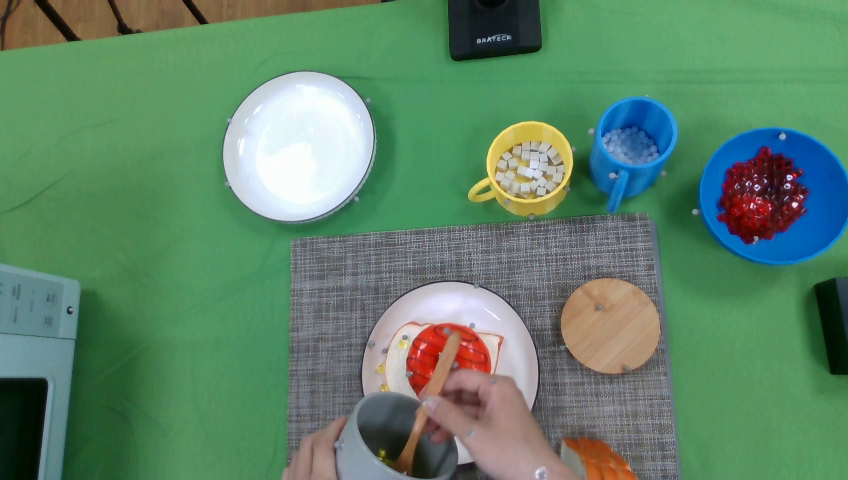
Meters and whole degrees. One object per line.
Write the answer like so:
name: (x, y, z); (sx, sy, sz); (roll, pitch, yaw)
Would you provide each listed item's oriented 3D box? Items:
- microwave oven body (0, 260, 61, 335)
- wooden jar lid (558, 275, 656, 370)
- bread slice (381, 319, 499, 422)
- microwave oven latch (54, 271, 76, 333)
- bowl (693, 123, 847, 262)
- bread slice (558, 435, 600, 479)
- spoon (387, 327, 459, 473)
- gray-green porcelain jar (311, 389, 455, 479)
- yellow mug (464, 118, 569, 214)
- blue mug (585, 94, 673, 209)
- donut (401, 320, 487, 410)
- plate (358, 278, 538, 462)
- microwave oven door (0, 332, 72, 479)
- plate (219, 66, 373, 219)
microwave oven body: (-0.636, 0.241, 0.683); (0.325, 0.261, 0.439); (-3, 79, 9)
wooden jar lid: (0.208, 0.094, 0.695); (0.108, 0.021, 0.108); (-2, 79, 9)
bread slice: (0.015, 0.148, 0.711); (0.131, 0.019, 0.104); (10, 79, 8)
microwave oven latch: (-0.476, 0.081, 0.788); (0.030, 0.029, 0.079); (0, 79, 9)
bowl: (0.369, -0.044, 0.669); (0.151, 0.077, 0.150); (-2, 78, 10)
bread slice: (0.154, 0.258, 0.616); (0.018, 0.135, 0.106); (5, 77, 3)
spoon: (-0.008, 0.168, 0.543); (0.041, 0.022, 0.194); (24, 94, 15)
gray-green porcelain jar: (-0.045, 0.222, 0.568); (0.105, 0.106, 0.127); (35, 113, 15)
yellow mug: (0.109, -0.081, 0.727); (0.131, 0.064, 0.099); (-25, 75, 5)
blue mug: (0.225, -0.091, 0.690); (0.082, 0.106, 0.116); (17, 82, 13)
donut: (0.022, 0.139, 0.679); (0.099, 0.048, 0.098); (-1, 79, 6)
plate: (0.028, 0.148, 0.705); (0.209, 0.038, 0.208); (-2, 78, 9)
microwave oven door: (-0.493, 0.274, 0.647); (0.039, 0.245, 0.354); (-3, 78, 9)
plate: (-0.165, -0.126, 0.798); (0.207, 0.039, 0.206); (-2, 79, 9)
